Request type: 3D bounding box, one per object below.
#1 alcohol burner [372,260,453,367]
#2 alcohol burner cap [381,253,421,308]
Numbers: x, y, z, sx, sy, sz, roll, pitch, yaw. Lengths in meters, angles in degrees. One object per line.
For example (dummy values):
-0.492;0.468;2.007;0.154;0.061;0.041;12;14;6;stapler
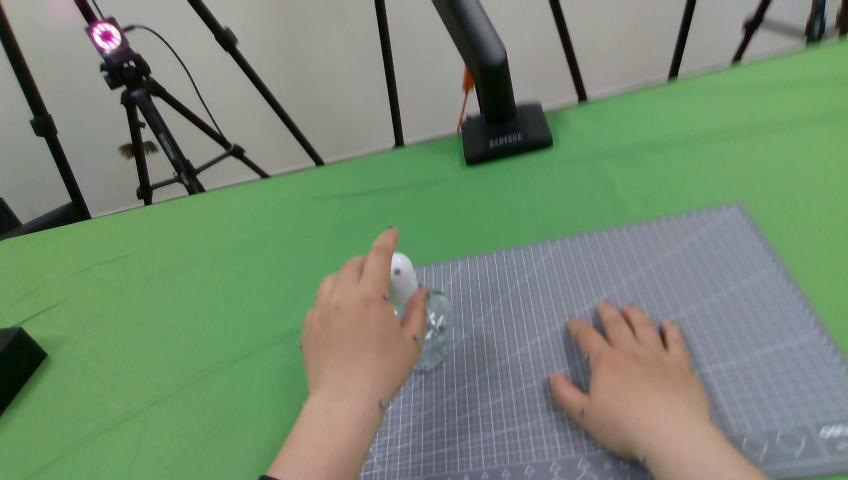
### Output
-0.014;0.061;0.554;0.078;0.120;0.077;-9;38;8;alcohol burner
-0.021;0.032;0.532;0.034;0.048;0.033;-6;39;5;alcohol burner cap
